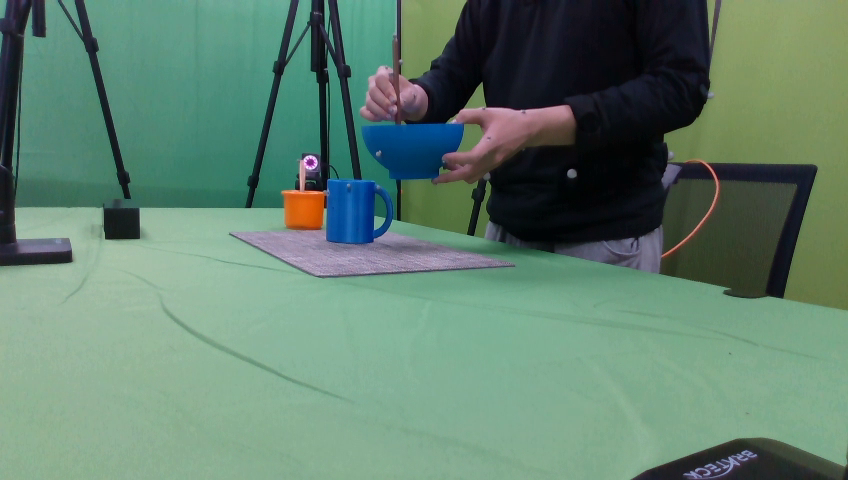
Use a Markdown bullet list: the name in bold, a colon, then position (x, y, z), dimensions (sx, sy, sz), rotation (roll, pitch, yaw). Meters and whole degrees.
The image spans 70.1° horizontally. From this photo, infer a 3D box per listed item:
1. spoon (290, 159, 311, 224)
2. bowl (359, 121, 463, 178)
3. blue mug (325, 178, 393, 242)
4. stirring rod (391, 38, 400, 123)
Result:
- **spoon**: position (-0.256, -0.104, 1.265), dimensions (0.042, 0.193, 0.021), rotation (1, -37, -9)
- **bowl**: position (-0.017, -0.131, 0.878), dimensions (0.151, 0.077, 0.151), rotation (-1, 11, 1)
- **blue mug**: position (-0.111, -0.052, 1.034), dimensions (0.116, 0.106, 0.082), rotation (3, 7, 7)
- **stirring rod**: position (-0.040, -0.201, 0.875), dimensions (0.006, 0.176, 0.014), rotation (-6, 10, -25)
